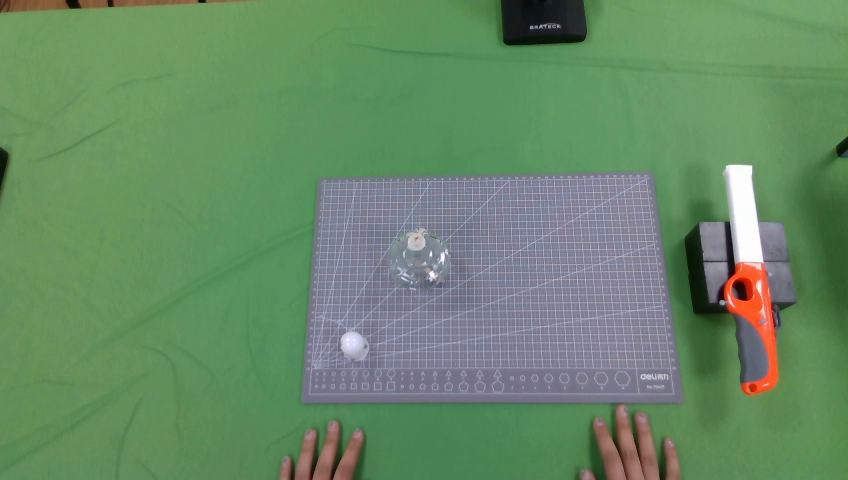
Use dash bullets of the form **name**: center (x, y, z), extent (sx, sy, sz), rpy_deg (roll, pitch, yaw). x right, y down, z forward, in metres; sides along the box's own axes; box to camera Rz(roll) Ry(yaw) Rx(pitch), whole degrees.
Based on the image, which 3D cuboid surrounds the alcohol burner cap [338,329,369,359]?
- **alcohol burner cap**: center (-0.086, 0.123, 0.725), extent (0.034, 0.048, 0.033), rpy_deg (-1, 69, 4)

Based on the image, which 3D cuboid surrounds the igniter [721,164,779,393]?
- **igniter**: center (0.370, 0.037, 0.696), extent (0.057, 0.025, 0.274), rpy_deg (3, 69, 7)

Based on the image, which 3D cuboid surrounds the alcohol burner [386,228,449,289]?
- **alcohol burner**: center (-0.008, 0.016, 0.722), extent (0.078, 0.120, 0.077), rpy_deg (0, 69, 1)
